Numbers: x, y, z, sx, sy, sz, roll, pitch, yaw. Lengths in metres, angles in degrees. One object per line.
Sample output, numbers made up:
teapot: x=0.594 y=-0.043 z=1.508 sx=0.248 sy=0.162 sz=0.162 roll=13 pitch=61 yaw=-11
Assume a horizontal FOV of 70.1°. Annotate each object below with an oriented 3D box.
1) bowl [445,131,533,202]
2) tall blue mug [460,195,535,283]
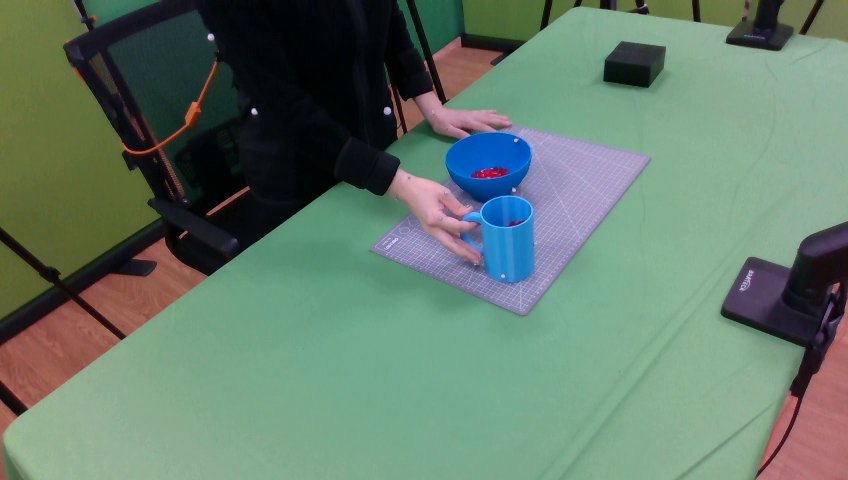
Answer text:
bowl: x=0.115 y=-0.118 z=1.056 sx=0.151 sy=0.077 sz=0.150 roll=-6 pitch=40 yaw=5
tall blue mug: x=0.109 y=0.001 z=0.891 sx=0.107 sy=0.108 sz=0.077 roll=-8 pitch=41 yaw=2
